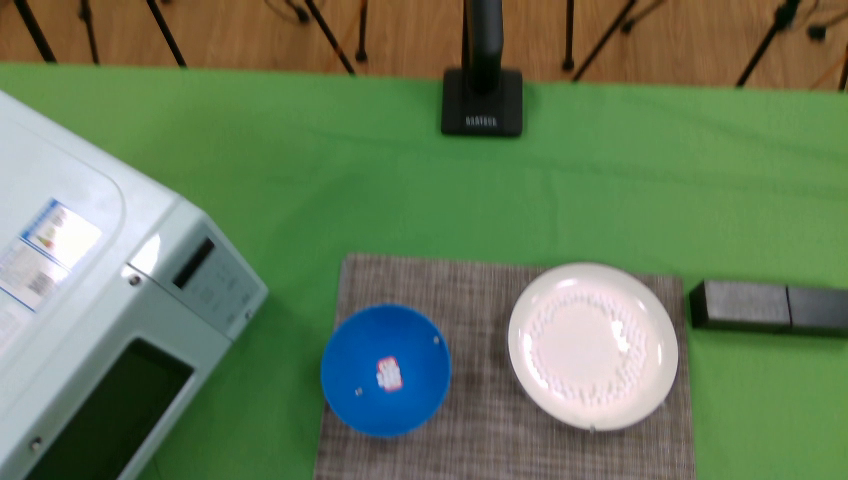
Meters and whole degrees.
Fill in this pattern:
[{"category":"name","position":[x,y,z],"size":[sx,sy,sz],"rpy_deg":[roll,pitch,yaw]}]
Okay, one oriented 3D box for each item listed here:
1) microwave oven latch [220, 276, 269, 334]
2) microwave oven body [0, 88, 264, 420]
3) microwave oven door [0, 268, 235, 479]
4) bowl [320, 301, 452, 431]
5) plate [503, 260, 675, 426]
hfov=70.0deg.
[{"category":"microwave oven latch","position":[-0.229,0.078,0.768],"size":[0.030,0.030,0.079],"rpy_deg":[31,72,12]},{"category":"microwave oven body","position":[-0.450,0.112,0.654],"size":[0.325,0.262,0.440],"rpy_deg":[29,72,12]},{"category":"microwave oven door","position":[-0.347,0.212,0.606],"size":[0.039,0.245,0.354],"rpy_deg":[28,71,13]},{"category":"bowl","position":[-0.043,0.156,0.726],"size":[0.151,0.077,0.150],"rpy_deg":[0,67,1]},{"category":"plate","position":[0.202,0.127,0.755],"size":[0.208,0.039,0.206],"rpy_deg":[0,68,1]}]
